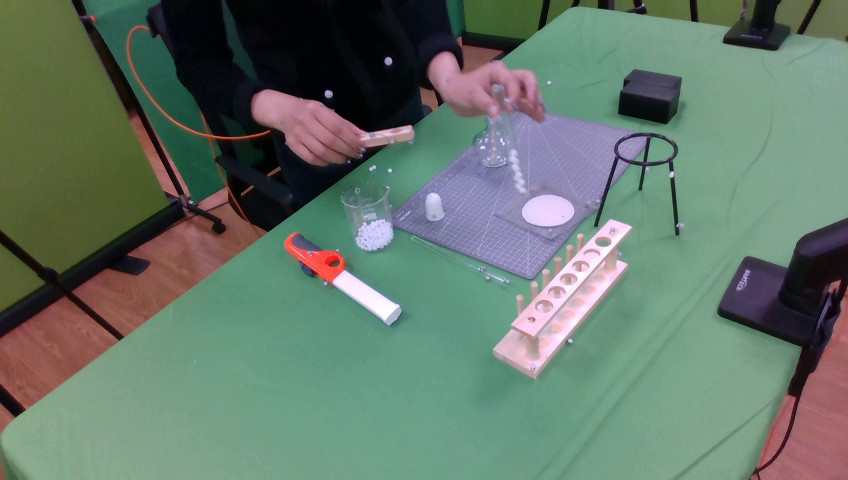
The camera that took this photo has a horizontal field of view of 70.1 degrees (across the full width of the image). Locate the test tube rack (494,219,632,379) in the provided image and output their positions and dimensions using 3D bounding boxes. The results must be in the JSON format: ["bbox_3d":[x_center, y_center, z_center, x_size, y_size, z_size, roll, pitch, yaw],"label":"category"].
[{"bbox_3d":[0.191,0.068,0.818,0.066,0.085,0.243,25,51,35],"label":"test tube rack"}]

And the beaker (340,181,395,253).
[{"bbox_3d":[-0.087,-0.037,0.985,0.084,0.101,0.073,-18,41,-11],"label":"beaker"}]

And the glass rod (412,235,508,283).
[{"bbox_3d":[0.051,0.028,0.951,0.198,0.008,0.008,25,51,37],"label":"glass rod"}]

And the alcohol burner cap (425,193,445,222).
[{"bbox_3d":[0.017,-0.058,1.029,0.034,0.048,0.033,-5,39,5],"label":"alcohol burner cap"}]

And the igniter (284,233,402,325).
[{"bbox_3d":[-0.136,0.054,0.942,0.274,0.025,0.057,30,63,37],"label":"igniter"}]

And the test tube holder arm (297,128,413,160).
[{"bbox_3d":[-0.100,-0.134,0.848,0.178,0.015,0.013,-8,36,20],"label":"test tube holder arm"}]

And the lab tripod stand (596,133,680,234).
[{"bbox_3d":[0.338,-0.091,0.940,0.148,0.132,0.147,-7,39,6],"label":"lab tripod stand"}]

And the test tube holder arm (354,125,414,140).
[{"bbox_3d":[-0.056,-0.143,0.837,0.087,0.015,0.010,-8,36,20],"label":"test tube holder arm"}]

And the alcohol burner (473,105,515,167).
[{"bbox_3d":[0.128,-0.196,1.116,0.078,0.119,0.077,-4,40,4],"label":"alcohol burner"}]

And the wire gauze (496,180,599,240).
[{"bbox_3d":[0.206,-0.050,1.012,0.125,0.011,0.120,-34,45,-26],"label":"wire gauze"}]

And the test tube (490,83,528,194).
[{"bbox_3d":[0.107,-0.122,0.750,0.017,0.151,0.017,-15,30,9],"label":"test tube"}]
